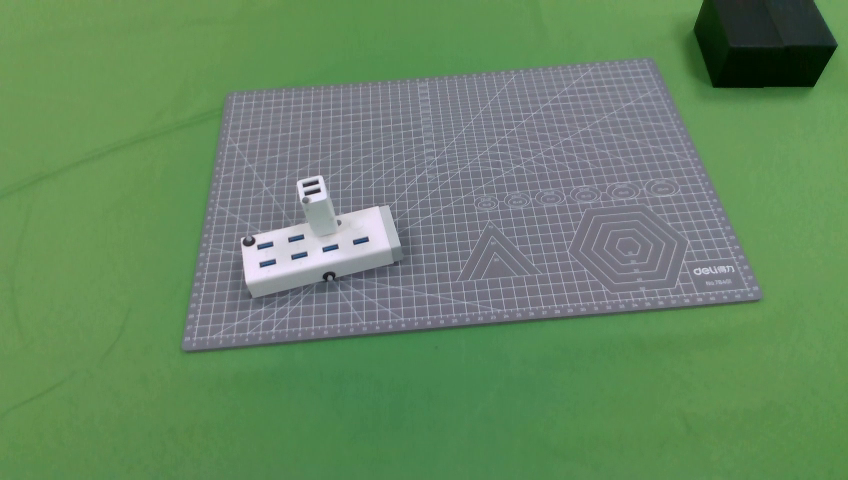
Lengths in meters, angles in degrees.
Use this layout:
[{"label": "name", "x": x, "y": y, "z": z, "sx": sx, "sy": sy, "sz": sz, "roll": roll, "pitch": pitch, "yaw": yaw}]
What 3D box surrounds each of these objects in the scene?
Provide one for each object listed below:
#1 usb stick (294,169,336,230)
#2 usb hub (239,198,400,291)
[{"label": "usb stick", "x": -0.085, "y": -0.027, "z": 0.482, "sx": 0.021, "sy": 0.060, "sz": 0.027, "roll": -16, "pitch": 54, "yaw": -6}, {"label": "usb hub", "x": -0.086, "y": 0.002, "z": 0.497, "sx": 0.125, "sy": 0.025, "sz": 0.049, "roll": -13, "pitch": 55, "yaw": -7}]
